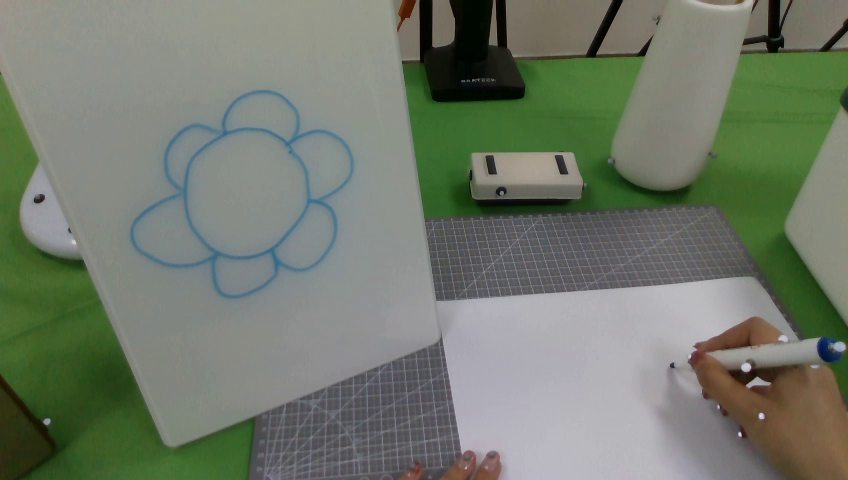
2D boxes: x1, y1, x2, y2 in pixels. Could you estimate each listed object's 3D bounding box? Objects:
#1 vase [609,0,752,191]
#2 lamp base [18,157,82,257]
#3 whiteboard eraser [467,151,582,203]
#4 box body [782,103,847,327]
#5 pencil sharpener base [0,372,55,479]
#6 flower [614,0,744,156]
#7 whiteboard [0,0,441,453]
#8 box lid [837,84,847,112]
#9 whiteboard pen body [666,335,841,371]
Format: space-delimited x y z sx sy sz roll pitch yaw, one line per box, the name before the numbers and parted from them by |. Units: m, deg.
vase | 0.254 -0.146 0.604 0.098 0.202 0.097 2 44 -2
lamp base | -0.314 -0.102 0.545 0.178 0.182 0.160 26 49 25
whiteboard eraser | 0.102 -0.064 0.625 0.113 0.042 0.055 -2 42 -3
box body | 0.481 0.044 0.446 0.254 0.162 0.360 -2 45 -4
pencil sharpener base | -0.301 0.105 0.386 0.076 0.108 0.061 32 52 27
flower | 0.268 -0.196 0.537 0.044 0.363 0.038 -22 66 -32
whiteboard | -0.129 -0.043 0.445 0.218 0.308 0.142 -18 29 -19
box lid | 0.482 -0.008 0.392 0.264 0.015 0.367 -2 44 -5
whiteboard pen body | 0.219 0.081 0.421 0.017 0.141 0.017 6 73 -20
